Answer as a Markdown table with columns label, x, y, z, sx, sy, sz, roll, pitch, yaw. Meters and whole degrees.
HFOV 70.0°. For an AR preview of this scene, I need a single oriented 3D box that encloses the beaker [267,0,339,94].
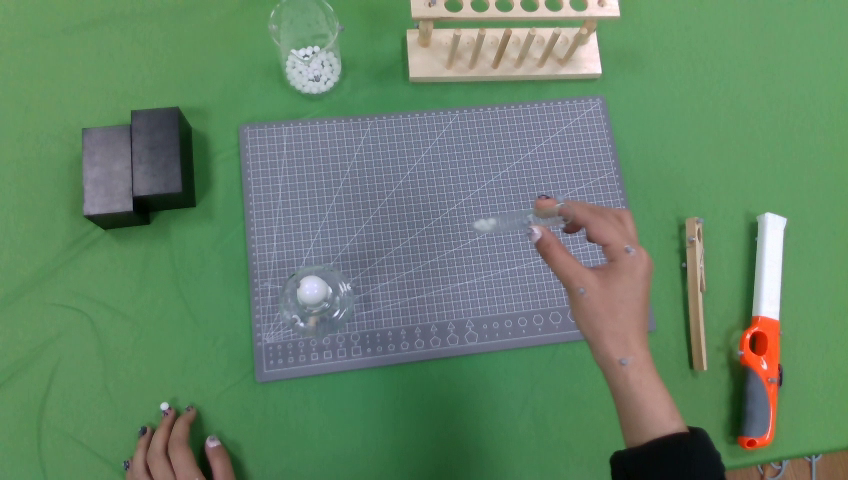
| label | x | y | z | sx | sy | sz | roll | pitch | yaw |
| --- | --- | --- | --- | --- | --- | --- | --- | --- | --- |
| beaker | -0.134 | -0.218 | 0.694 | 0.074 | 0.100 | 0.083 | -4 | 76 | -6 |

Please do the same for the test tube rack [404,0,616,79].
| label | x | y | z | sx | sy | sz | roll | pitch | yaw |
| --- | --- | --- | --- | --- | --- | --- | --- | --- | --- |
| test tube rack | 0.100 | -0.247 | 0.730 | 0.243 | 0.085 | 0.066 | -3 | 76 | -6 |

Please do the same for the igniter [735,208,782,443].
| label | x | y | z | sx | sy | sz | roll | pitch | yaw |
| --- | --- | --- | --- | --- | --- | --- | --- | --- | --- |
| igniter | 0.389 | 0.095 | 0.700 | 0.057 | 0.025 | 0.275 | 16 | 75 | -12 |

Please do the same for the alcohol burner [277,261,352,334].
| label | x | y | z | sx | sy | sz | roll | pitch | yaw |
| --- | --- | --- | --- | --- | --- | --- | --- | --- | --- |
| alcohol burner | -0.112 | 0.055 | 0.617 | 0.078 | 0.119 | 0.077 | 2 | 74 | -6 |

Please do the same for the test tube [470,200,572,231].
| label | x | y | z | sx | sy | sz | roll | pitch | yaw |
| --- | --- | --- | --- | --- | --- | --- | --- | --- | --- |
| test tube | 0.076 | -0.019 | 0.516 | 0.017 | 0.149 | 0.017 | 1 | 87 | -22 |

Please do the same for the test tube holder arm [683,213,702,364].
| label | x | y | z | sx | sy | sz | roll | pitch | yaw |
| --- | --- | --- | --- | --- | --- | --- | --- | --- | --- |
| test tube holder arm | 0.313 | 0.055 | 0.706 | 0.013 | 0.015 | 0.177 | 13 | 74 | -31 |

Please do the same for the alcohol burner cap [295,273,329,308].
| label | x | y | z | sx | sy | sz | roll | pitch | yaw |
| --- | --- | --- | --- | --- | --- | --- | --- | --- | --- |
| alcohol burner cap | -0.109 | 0.048 | 0.581 | 0.034 | 0.048 | 0.033 | 1 | 81 | -6 |

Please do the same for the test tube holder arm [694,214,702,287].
| label | x | y | z | sx | sy | sz | roll | pitch | yaw |
| --- | --- | --- | --- | --- | --- | --- | --- | --- | --- |
| test tube holder arm | 0.321 | 0.013 | 0.720 | 0.010 | 0.015 | 0.087 | 13 | 74 | -31 |
